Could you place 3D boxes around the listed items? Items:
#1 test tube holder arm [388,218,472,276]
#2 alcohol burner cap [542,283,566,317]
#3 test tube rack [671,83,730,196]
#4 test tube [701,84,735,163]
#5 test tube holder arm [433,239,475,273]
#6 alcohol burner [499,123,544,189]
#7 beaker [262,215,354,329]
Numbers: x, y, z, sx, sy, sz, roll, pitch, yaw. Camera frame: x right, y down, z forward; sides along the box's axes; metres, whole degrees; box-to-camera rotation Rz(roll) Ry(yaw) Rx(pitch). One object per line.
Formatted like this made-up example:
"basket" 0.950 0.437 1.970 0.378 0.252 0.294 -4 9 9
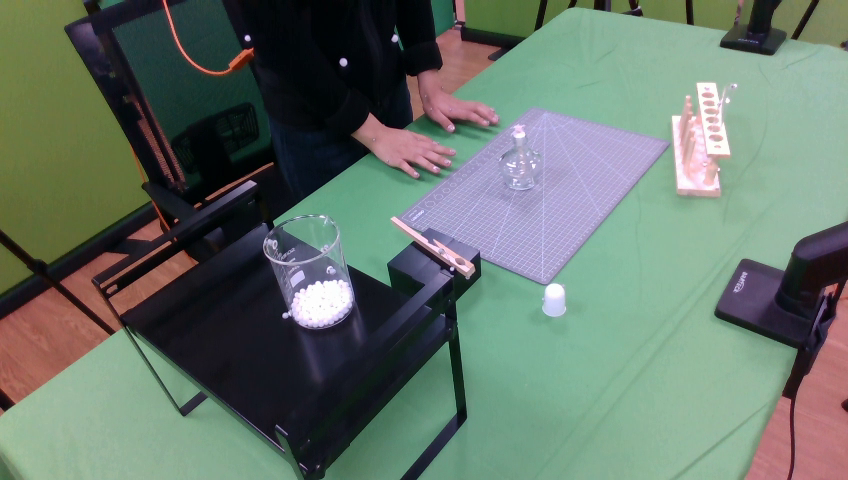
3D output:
"test tube holder arm" 0.005 0.008 0.895 0.013 0.015 0.177 -35 46 -29
"alcohol burner cap" 0.181 0.080 0.839 0.034 0.048 0.033 -3 40 3
"test tube rack" 0.482 -0.184 1.067 0.066 0.085 0.242 5 42 15
"test tube" 0.483 -0.189 0.996 0.017 0.151 0.017 -2 46 3
"test tube holder arm" 0.040 0.024 0.871 0.010 0.015 0.087 -33 46 -28
"alcohol burner" 0.168 -0.149 1.048 0.078 0.119 0.077 -6 41 5
"beaker" -0.112 0.034 0.616 0.073 0.101 0.084 13 44 23
